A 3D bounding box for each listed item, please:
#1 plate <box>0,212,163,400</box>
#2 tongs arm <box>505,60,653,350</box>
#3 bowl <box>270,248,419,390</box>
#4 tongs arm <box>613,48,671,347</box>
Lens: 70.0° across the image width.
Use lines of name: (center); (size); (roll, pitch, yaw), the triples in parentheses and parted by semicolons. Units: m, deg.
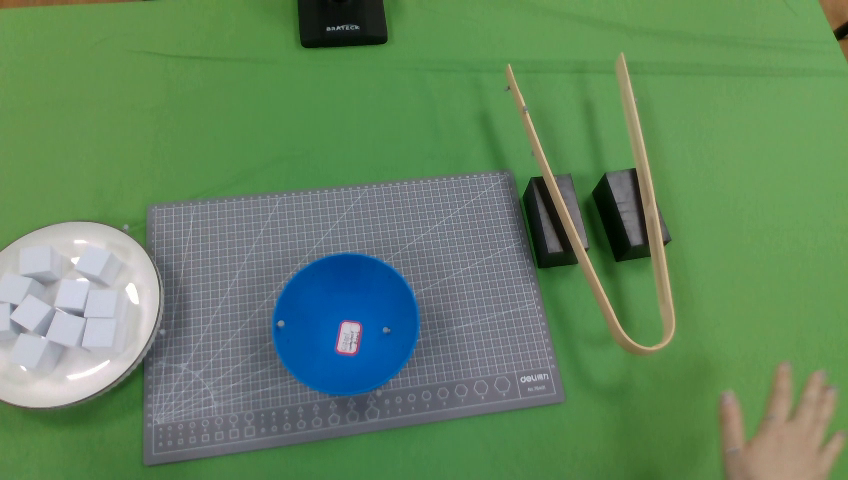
plate: (-0.387, 0.070, 0.657); (0.208, 0.039, 0.206); (1, 68, -3)
tongs arm: (0.172, -0.055, 0.707); (0.051, 0.027, 0.381); (-11, 69, -9)
bowl: (-0.082, 0.091, 0.649); (0.151, 0.077, 0.150); (2, 68, -4)
tongs arm: (0.251, -0.065, 0.716); (0.028, 0.028, 0.384); (2, 68, -8)
